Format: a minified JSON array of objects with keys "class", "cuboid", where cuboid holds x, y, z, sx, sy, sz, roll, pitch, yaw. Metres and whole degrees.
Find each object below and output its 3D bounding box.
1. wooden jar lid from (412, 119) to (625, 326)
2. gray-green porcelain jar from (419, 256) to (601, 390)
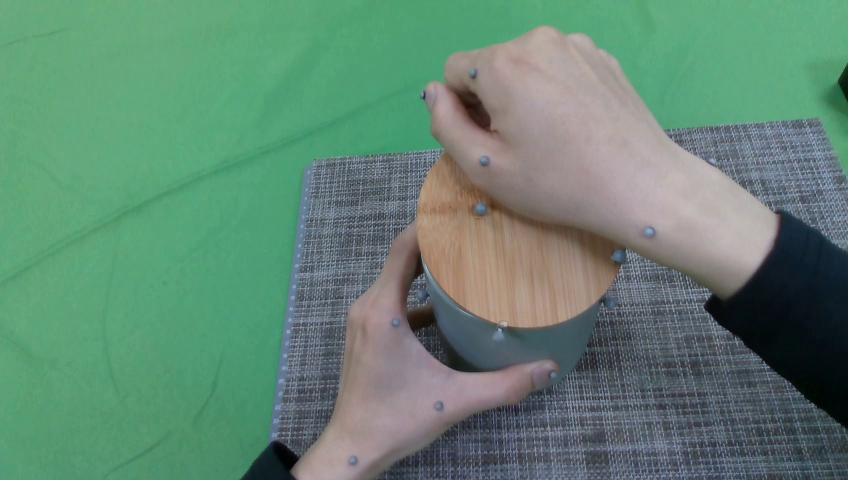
[{"class":"wooden jar lid","cuboid":[0.048,-0.009,0.313,0.108,0.021,0.108,1,79,-3]},{"class":"gray-green porcelain jar","cuboid":[0.054,0.030,0.380,0.106,0.127,0.105,-2,59,4]}]
